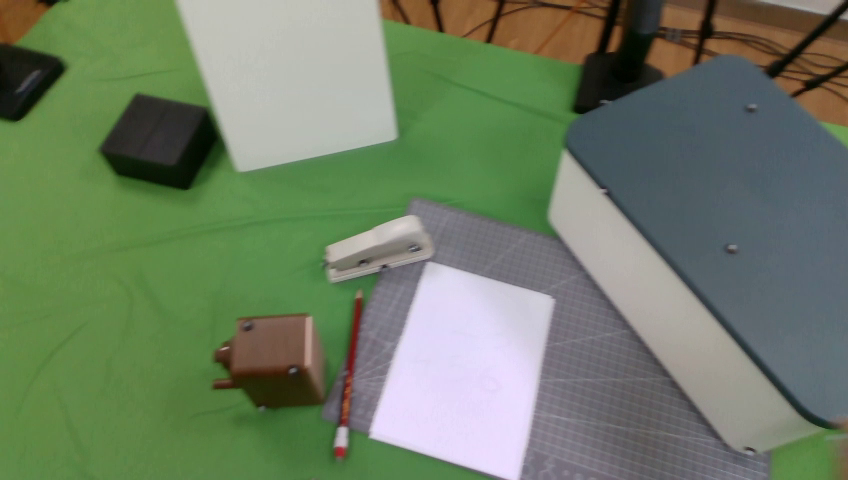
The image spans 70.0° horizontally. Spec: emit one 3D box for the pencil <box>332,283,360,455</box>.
[{"bbox_3d":[-0.082,0.132,0.652,0.012,0.012,0.192,4,59,0],"label":"pencil"}]

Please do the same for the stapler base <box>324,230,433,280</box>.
[{"bbox_3d":[-0.054,0.011,0.717,0.131,0.024,0.041,-15,56,-7],"label":"stapler base"}]

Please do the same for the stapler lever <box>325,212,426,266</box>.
[{"bbox_3d":[-0.056,-0.002,0.696,0.118,0.040,0.026,-15,56,-7],"label":"stapler lever"}]

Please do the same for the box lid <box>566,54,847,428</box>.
[{"bbox_3d":[0.338,-0.032,0.592,0.263,0.015,0.368,-25,64,-17],"label":"box lid"}]

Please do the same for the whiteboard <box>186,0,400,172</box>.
[{"bbox_3d":[-0.165,-0.272,0.757,0.217,0.308,0.142,-13,41,-9],"label":"whiteboard"}]

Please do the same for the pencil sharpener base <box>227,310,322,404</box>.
[{"bbox_3d":[-0.146,0.119,0.602,0.077,0.108,0.061,-3,59,-3],"label":"pencil sharpener base"}]

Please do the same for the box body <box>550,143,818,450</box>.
[{"bbox_3d":[0.337,0.008,0.654,0.254,0.161,0.360,-25,63,-17],"label":"box body"}]

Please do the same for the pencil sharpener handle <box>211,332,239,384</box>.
[{"bbox_3d":[-0.196,0.118,0.585,0.031,0.068,0.035,-3,43,-3],"label":"pencil sharpener handle"}]
